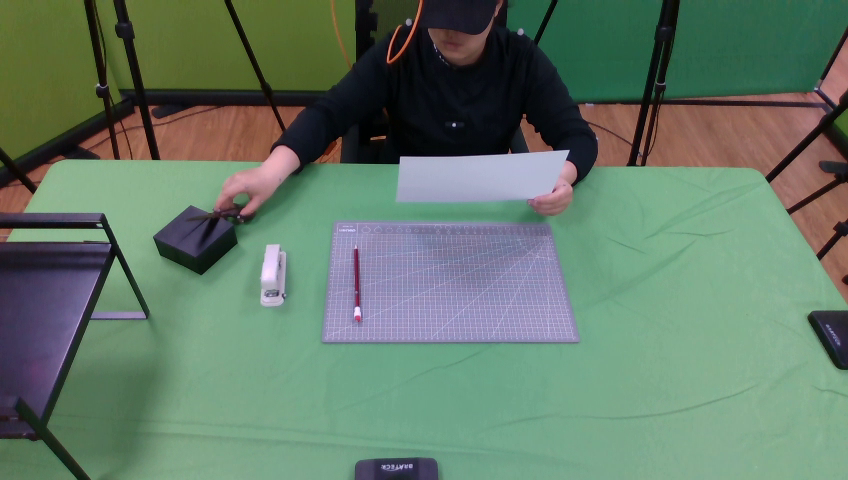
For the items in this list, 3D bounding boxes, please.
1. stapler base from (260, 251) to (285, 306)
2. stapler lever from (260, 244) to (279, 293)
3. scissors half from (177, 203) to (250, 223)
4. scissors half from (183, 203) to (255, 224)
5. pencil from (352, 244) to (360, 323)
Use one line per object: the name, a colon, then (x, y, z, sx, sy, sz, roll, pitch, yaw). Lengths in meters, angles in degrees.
stapler base: (-0.279, 0.064, 1.113, 0.041, 0.024, 0.129, -1, 44, -9)
stapler lever: (-0.279, 0.045, 1.096, 0.027, 0.040, 0.117, -1, 44, -9)
scissors half: (-0.404, -0.050, 1.165, 0.040, 0.013, 0.175, 0, 13, 27)
scissors half: (-0.389, -0.049, 1.157, 0.040, 0.013, 0.175, 8, 17, 30)
pencil: (-0.127, 0.075, 1.119, 0.012, 0.012, 0.192, -3, 44, -7)
